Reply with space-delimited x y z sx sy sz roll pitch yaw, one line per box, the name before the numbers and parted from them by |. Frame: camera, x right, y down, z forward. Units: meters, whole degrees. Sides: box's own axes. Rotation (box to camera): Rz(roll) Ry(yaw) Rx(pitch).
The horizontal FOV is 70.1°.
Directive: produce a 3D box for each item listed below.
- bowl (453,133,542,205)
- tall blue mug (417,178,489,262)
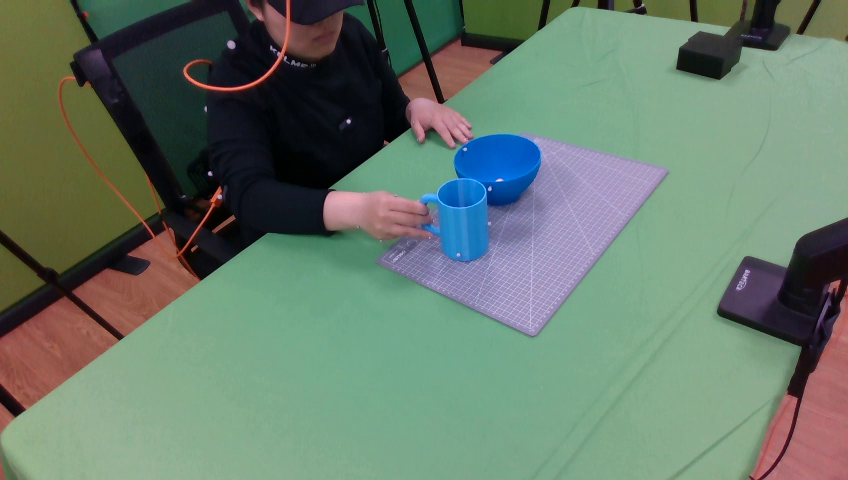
bowl | 0.129 -0.112 1.045 0.151 0.077 0.150 -5 40 5
tall blue mug | 0.046 -0.029 0.934 0.107 0.108 0.077 -8 42 -1
